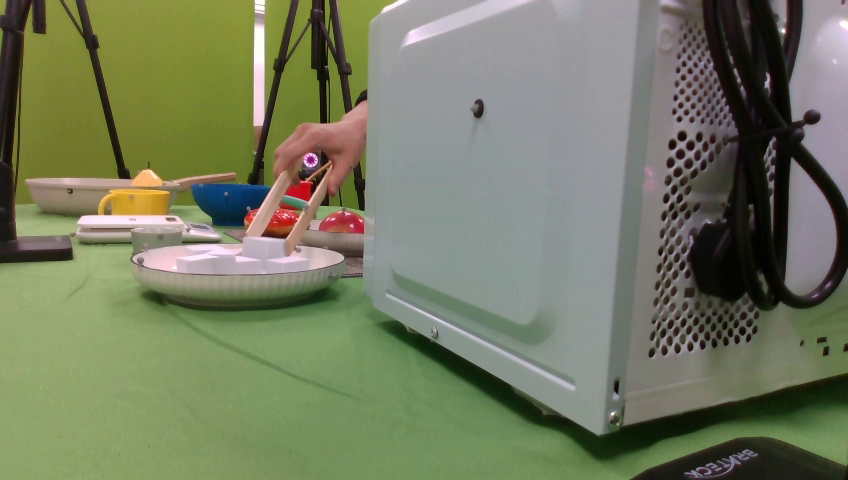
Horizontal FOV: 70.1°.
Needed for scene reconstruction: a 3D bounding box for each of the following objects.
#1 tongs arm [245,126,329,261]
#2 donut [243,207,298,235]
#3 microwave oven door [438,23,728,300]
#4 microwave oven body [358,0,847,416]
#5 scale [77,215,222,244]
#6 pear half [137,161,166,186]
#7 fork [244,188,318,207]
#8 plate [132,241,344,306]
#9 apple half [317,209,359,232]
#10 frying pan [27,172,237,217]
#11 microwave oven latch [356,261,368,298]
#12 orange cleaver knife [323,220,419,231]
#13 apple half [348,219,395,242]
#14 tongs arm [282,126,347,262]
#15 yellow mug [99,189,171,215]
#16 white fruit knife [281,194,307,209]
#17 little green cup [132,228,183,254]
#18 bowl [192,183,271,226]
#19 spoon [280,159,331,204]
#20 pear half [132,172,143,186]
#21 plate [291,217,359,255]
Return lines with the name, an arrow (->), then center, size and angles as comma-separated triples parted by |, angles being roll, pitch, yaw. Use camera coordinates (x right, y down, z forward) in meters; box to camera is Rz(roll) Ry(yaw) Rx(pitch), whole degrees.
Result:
tongs arm -> -0.170, -0.079, 0.785 | 0.028, 0.028, 0.387 | -3, 28, 4
donut -> -0.261, -0.032, 1.043 | 0.099, 0.048, 0.099 | 4, 8, 0
microwave oven door -> 0.181, -0.073, 0.621 | 0.358, 0.243, 0.039 | -2, 8, -29
microwave oven body -> 0.211, -0.047, 0.475 | 0.444, 0.260, 0.324 | -1, 7, -28
scale -> -0.434, -0.019, 0.963 | 0.202, 0.031, 0.148 | -1, 9, -27
pear half -> -0.602, -0.120, 1.354 | 0.056, 0.110, 0.076 | 4, 11, 6
fork -> -0.356, -0.105, 1.526 | 0.208, 0.018, 0.028 | 16, -5, -41
plate -> -0.187, 0.033, 0.625 | 0.208, 0.039, 0.207 | 2, 7, 0
apple half -> -0.122, -0.020, 0.900 | 0.080, 0.053, 0.075 | 4, 11, 15
frying pan -> -0.624, -0.119, 1.387 | 0.305, 0.102, 0.490 | 8, 17, 32
microwave oven latch -> -0.019, 0.033, 0.530 | 0.079, 0.029, 0.030 | -1, 7, -26
orange cleaver knife -> -0.097, -0.027, 1.152 | 0.077, 0.012, 0.212 | 2, 7, 41
apple half -> -0.084, -0.018, 0.967 | 0.081, 0.033, 0.081 | 5, 9, -1
tongs arm -> -0.145, -0.078, 0.785 | 0.051, 0.026, 0.384 | 2, 28, 5
yellow mug -> -0.519, -0.055, 1.080 | 0.099, 0.064, 0.131 | 7, 9, 26
white fruit knife -> -0.364, -0.105, 1.464 | 0.208, 0.027, 0.016 | 15, 0, -34
little green cup -> -0.342, 0.006, 0.779 | 0.061, 0.038, 0.061 | 2, 8, 0
bowl -> -0.382, -0.071, 1.202 | 0.151, 0.077, 0.151 | 3, 7, 0
spoon -> -0.317, -0.159, 1.640 | 0.194, 0.022, 0.041 | -49, 32, -20
pear half -> -0.638, -0.113, 1.361 | 0.031, 0.088, 0.070 | 5, 11, 4
plate -> -0.098, -0.007, 0.928 | 0.209, 0.038, 0.209 | 3, 8, 0
